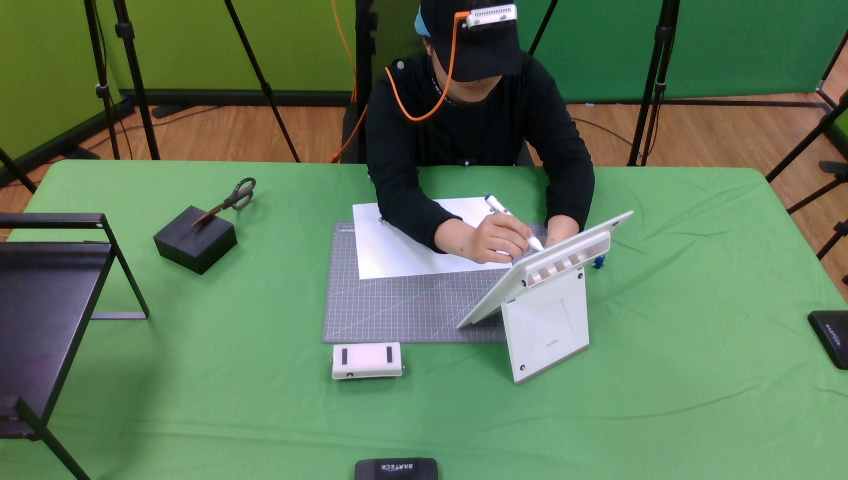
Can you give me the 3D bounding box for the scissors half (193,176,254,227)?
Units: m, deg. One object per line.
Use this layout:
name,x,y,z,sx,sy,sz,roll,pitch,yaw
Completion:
scissors half,-0.387,-0.075,1.174,0.013,0.040,0.174,29,47,8

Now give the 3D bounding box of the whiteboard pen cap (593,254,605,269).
whiteboard pen cap,0.340,0.042,1.179,0.018,0.033,0.018,2,46,-1

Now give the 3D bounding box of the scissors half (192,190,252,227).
scissors half,-0.393,-0.060,1.187,0.013,0.040,0.175,25,29,11

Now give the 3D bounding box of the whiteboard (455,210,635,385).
whiteboard,0.211,0.111,0.955,0.217,0.306,0.143,-21,71,-23

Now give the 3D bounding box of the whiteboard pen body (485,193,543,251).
whiteboard pen body,0.149,-0.022,0.972,0.140,0.017,0.017,46,57,11

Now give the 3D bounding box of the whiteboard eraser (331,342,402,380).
whiteboard eraser,-0.094,0.198,0.986,0.113,0.042,0.055,-2,44,-6
